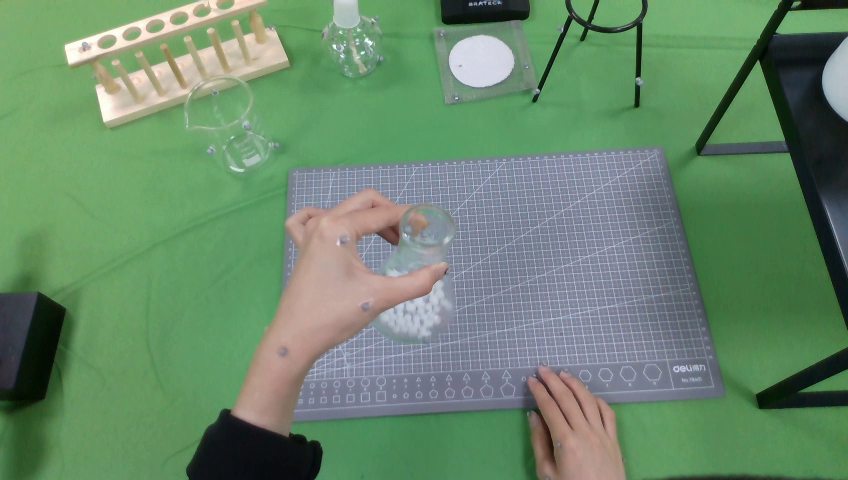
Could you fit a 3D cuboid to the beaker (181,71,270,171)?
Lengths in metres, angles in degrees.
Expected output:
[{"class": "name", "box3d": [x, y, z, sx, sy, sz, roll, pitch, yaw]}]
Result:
[{"class": "beaker", "box3d": [-0.226, -0.131, 0.701, 0.073, 0.101, 0.084, 41, 73, 19]}]

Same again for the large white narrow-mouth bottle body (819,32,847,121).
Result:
[{"class": "large white narrow-mouth bottle body", "box3d": [0.393, -0.174, 0.450, 0.102, 0.196, 0.101, -1, 63, 1]}]

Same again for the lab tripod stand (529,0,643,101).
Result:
[{"class": "lab tripod stand", "box3d": [0.200, -0.238, 0.718, 0.148, 0.132, 0.147, 0, 64, 0]}]

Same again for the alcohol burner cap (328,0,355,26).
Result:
[{"class": "alcohol burner cap", "box3d": [-0.098, -0.284, 0.720, 0.034, 0.048, 0.033, 3, 63, -6]}]

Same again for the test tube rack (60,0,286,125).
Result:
[{"class": "test tube rack", "box3d": [-0.307, -0.234, 0.759, 0.242, 0.086, 0.066, -22, 66, -8]}]

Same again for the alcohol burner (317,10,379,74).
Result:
[{"class": "alcohol burner", "box3d": [-0.097, -0.266, 0.752, 0.078, 0.120, 0.077, 0, 62, 1]}]

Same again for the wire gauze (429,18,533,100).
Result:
[{"class": "wire gauze", "box3d": [0.073, -0.242, 0.793, 0.121, 0.011, 0.124, -7, 65, -3]}]

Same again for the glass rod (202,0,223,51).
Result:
[{"class": "glass rod", "box3d": [-0.263, -0.297, 0.714, 0.008, 0.201, 0.008, 1, 63, -2]}]

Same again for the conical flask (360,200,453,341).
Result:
[{"class": "conical flask", "box3d": [-0.007, 0.019, 0.447, 0.075, 0.122, 0.074, 5, 58, -7]}]
